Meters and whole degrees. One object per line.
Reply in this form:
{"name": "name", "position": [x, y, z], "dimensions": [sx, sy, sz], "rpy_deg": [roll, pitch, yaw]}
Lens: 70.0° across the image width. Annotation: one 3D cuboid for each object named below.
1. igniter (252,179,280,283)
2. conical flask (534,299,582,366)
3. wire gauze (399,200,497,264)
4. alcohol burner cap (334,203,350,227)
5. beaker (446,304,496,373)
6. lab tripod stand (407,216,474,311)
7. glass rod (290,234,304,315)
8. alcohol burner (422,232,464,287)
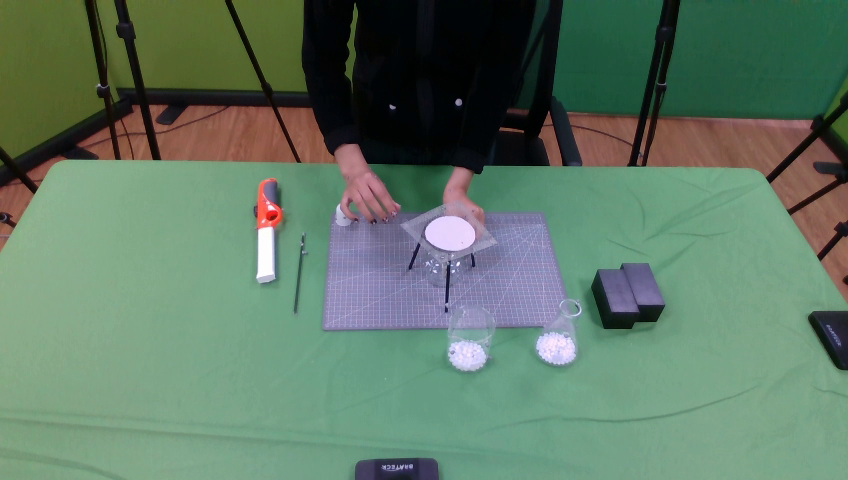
{"name": "igniter", "position": [-0.313, -0.027, 1.197], "dimensions": [0.057, 0.025, 0.274], "rpy_deg": [-12, 47, -1]}
{"name": "conical flask", "position": [0.229, 0.149, 1.005], "dimensions": [0.075, 0.122, 0.075], "rpy_deg": [2, 46, -2]}
{"name": "wire gauze", "position": [0.042, -0.014, 1.041], "dimensions": [0.125, 0.011, 0.120], "rpy_deg": [-22, 50, -25]}
{"name": "alcohol burner cap", "position": [-0.166, -0.053, 1.221], "dimensions": [0.034, 0.048, 0.033], "rpy_deg": [2, 45, -2]}
{"name": "beaker", "position": [0.072, 0.166, 0.992], "dimensions": [0.084, 0.101, 0.073], "rpy_deg": [-21, 51, -22]}
{"name": "lab tripod stand", "position": [0.039, 0.030, 1.092], "dimensions": [0.148, 0.132, 0.147], "rpy_deg": [2, 44, -2]}
{"name": "glass rod", "position": [-0.237, 0.059, 1.133], "dimensions": [0.008, 0.008, 0.198], "rpy_deg": [0, 46, -4]}
{"name": "alcohol burner", "position": [0.035, 0.030, 1.107], "dimensions": [0.078, 0.120, 0.077], "rpy_deg": [1, 47, -1]}
